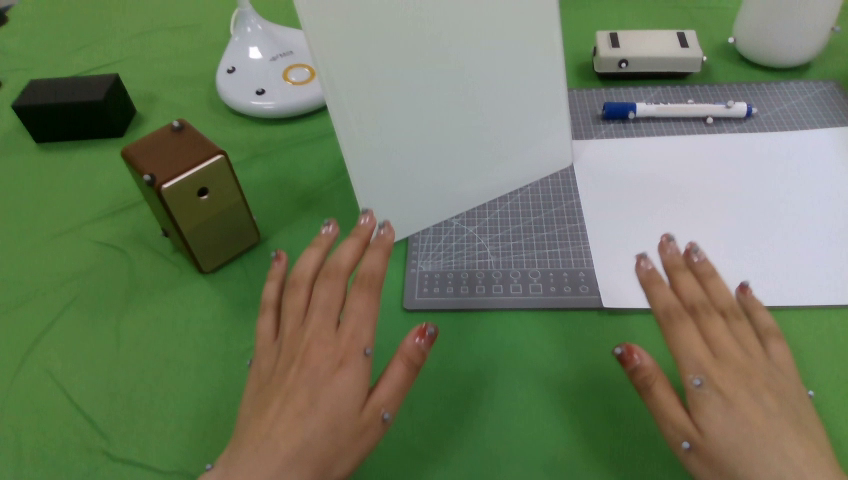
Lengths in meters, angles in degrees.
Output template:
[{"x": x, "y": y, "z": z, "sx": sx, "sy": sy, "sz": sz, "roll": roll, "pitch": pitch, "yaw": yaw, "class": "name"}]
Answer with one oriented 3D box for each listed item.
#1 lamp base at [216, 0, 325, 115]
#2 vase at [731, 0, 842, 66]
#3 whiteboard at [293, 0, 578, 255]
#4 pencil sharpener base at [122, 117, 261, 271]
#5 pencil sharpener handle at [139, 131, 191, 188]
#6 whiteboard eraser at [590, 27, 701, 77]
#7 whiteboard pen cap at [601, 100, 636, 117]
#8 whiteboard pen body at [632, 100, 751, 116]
[{"x": -0.178, "y": -0.256, "z": 0.661, "sx": 0.177, "sy": 0.182, "sz": 0.160, "roll": 32, "pitch": 58, "yaw": 32, "class": "lamp base"}, {"x": 0.392, "y": -0.283, "z": 0.622, "sx": 0.098, "sy": 0.202, "sz": 0.097, "roll": -2, "pitch": 48, "yaw": 2, "class": "vase"}, {"x": -0.008, "y": -0.183, "z": 0.535, "sx": 0.217, "sy": 0.308, "sz": 0.142, "roll": -24, "pitch": 31, "yaw": -14, "class": "whiteboard"}, {"x": -0.197, "y": -0.039, "z": 0.519, "sx": 0.061, "sy": 0.108, "sz": 0.076, "roll": -38, "pitch": 55, "yaw": -25, "class": "pencil sharpener base"}, {"x": -0.231, "y": -0.074, "z": 0.536, "sx": 0.036, "sy": 0.068, "sz": 0.030, "roll": -42, "pitch": 56, "yaw": -18, "class": "pencil sharpener handle"}, {"x": 0.244, "y": -0.208, "z": 0.674, "sx": 0.112, "sy": 0.042, "sz": 0.055, "roll": 0, "pitch": 46, "yaw": 6, "class": "whiteboard eraser"}, {"x": 0.201, "y": -0.135, "z": 0.626, "sx": 0.033, "sy": 0.018, "sz": 0.018, "roll": 3, "pitch": 48, "yaw": 4, "class": "whiteboard pen cap"}, {"x": 0.260, "y": -0.135, "z": 0.620, "sx": 0.140, "sy": 0.017, "sz": 0.017, "roll": 1, "pitch": 48, "yaw": 6, "class": "whiteboard pen body"}]
